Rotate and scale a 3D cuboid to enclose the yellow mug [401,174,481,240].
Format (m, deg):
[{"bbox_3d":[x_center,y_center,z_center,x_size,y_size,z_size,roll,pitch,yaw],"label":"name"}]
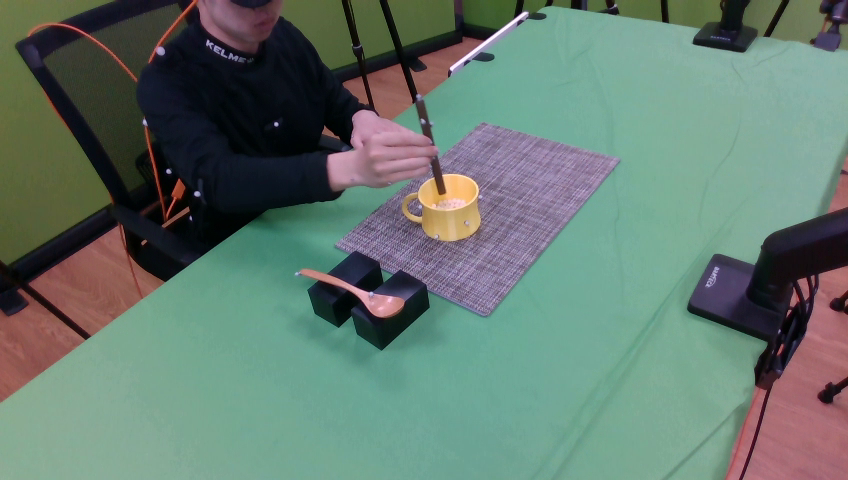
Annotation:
[{"bbox_3d":[0.026,-0.054,0.989,0.130,0.064,0.099,-1,41,9],"label":"yellow mug"}]

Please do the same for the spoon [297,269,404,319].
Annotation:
[{"bbox_3d":[-0.106,0.068,0.831,0.192,0.022,0.042,21,49,32],"label":"spoon"}]

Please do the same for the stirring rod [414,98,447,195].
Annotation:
[{"bbox_3d":[0.010,-0.133,0.888,0.014,0.177,0.006,-19,44,-2],"label":"stirring rod"}]
